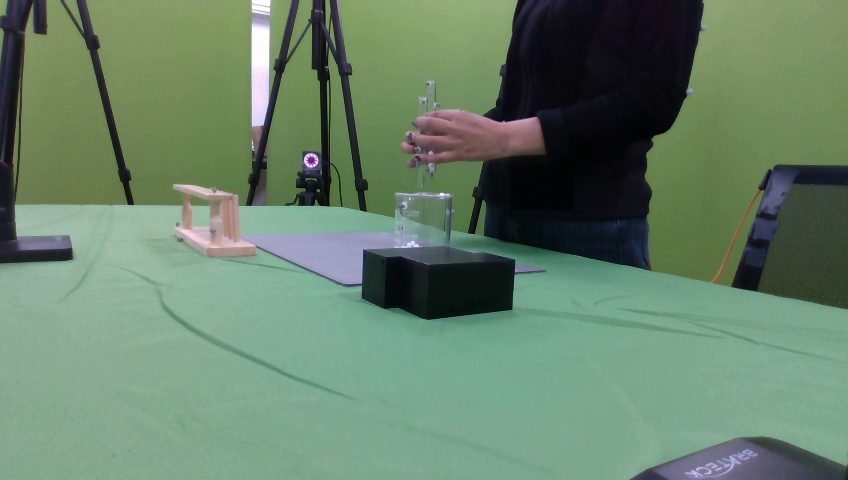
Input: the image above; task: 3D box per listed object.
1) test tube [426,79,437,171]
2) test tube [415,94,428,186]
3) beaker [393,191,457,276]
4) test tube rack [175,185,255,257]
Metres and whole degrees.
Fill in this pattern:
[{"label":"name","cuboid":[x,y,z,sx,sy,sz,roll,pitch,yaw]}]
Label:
[{"label":"test tube","cuboid":[0.013,-0.190,1.000,0.017,0.150,0.017,-1,9,0]},{"label":"test tube","cuboid":[-0.004,-0.161,0.985,0.017,0.150,0.017,2,18,0]},{"label":"beaker","cuboid":[-0.003,-0.010,0.749,0.074,0.100,0.083,-3,8,-40]},{"label":"test tube rack","cuboid":[-0.324,-0.035,0.922,0.067,0.085,0.241,-2,9,-31]}]
